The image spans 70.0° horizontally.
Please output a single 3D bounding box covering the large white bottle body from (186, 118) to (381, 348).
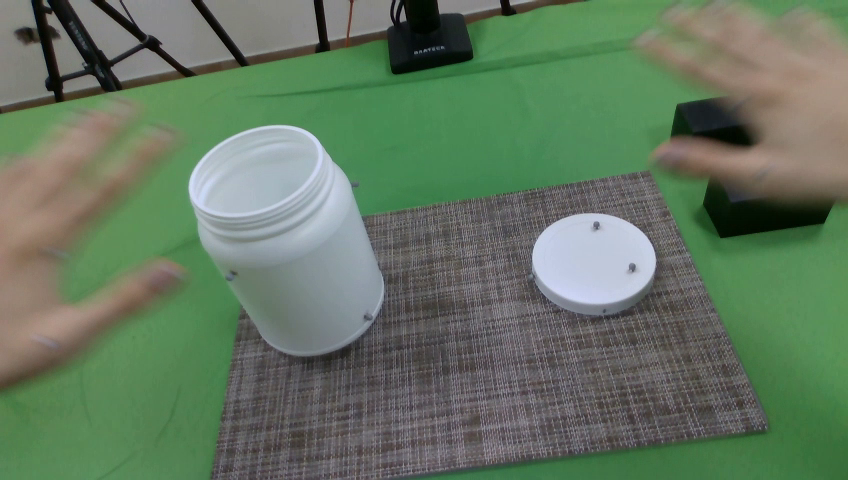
[{"bbox_3d":[-0.120,-0.003,0.541,0.130,0.186,0.129,-6,48,7],"label":"large white bottle body"}]

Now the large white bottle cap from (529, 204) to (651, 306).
[{"bbox_3d":[0.159,0.012,0.584,0.115,0.018,0.113,-6,49,7],"label":"large white bottle cap"}]
